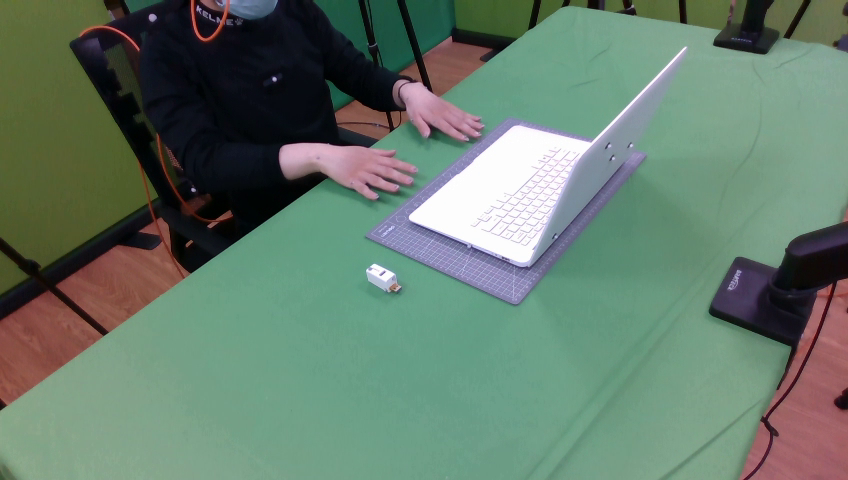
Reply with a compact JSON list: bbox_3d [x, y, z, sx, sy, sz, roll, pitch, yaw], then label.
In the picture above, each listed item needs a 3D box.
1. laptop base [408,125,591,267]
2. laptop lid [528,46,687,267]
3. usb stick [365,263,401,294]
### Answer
[{"bbox_3d":[0.168,-0.092,1.054,0.233,0.023,0.355,21,47,33],"label":"laptop base"},{"bbox_3d":[0.277,-0.126,0.903,0.013,0.242,0.358,35,53,17],"label":"laptop lid"},{"bbox_3d":[-0.059,0.060,0.904,0.058,0.027,0.021,28,51,30],"label":"usb stick"}]
